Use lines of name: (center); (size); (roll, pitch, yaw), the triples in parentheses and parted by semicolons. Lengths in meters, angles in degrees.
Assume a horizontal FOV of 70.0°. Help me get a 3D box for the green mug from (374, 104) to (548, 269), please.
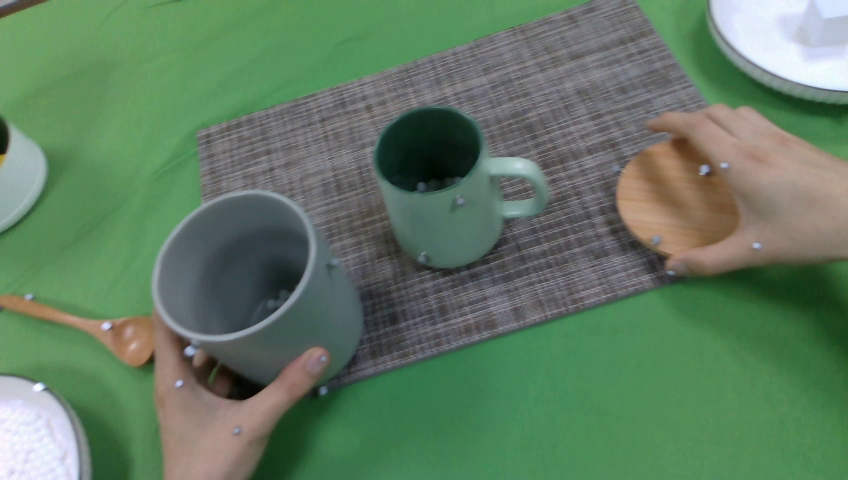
green mug: (0.029, -0.037, 0.453); (0.125, 0.106, 0.092); (1, 61, 12)

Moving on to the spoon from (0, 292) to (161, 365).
spoon: (-0.297, 0.066, 0.514); (0.193, 0.022, 0.041); (12, 82, 17)

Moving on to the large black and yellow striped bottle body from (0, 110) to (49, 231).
large black and yellow striped bottle body: (-0.457, -0.095, 0.541); (0.130, 0.186, 0.129); (-5, 60, 9)

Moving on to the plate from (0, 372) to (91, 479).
plate: (-0.334, 0.201, 0.438); (0.209, 0.038, 0.207); (-5, 60, 9)

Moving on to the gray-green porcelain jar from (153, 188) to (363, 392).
gray-green porcelain jar: (-0.105, 0.043, 0.422); (0.106, 0.128, 0.105); (-5, 59, 9)

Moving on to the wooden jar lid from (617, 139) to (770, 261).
wooden jar lid: (0.203, -0.029, 0.462); (0.108, 0.021, 0.107); (-5, 61, 9)

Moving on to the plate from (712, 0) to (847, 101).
plate: (0.354, -0.195, 0.515); (0.207, 0.039, 0.206); (-5, 61, 9)
